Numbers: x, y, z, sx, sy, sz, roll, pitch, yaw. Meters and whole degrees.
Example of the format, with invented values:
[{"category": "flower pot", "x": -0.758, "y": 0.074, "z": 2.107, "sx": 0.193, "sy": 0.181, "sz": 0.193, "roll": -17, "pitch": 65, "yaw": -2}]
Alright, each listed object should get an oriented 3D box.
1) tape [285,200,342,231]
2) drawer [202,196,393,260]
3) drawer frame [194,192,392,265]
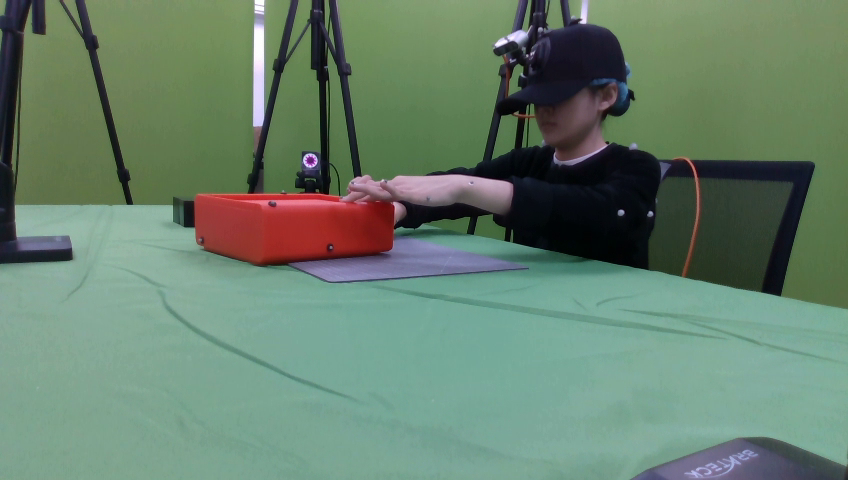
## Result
[{"category": "tape", "x": -0.223, "y": -0.051, "z": 1.222, "sx": 0.117, "sy": 0.052, "sz": 0.117, "roll": 3, "pitch": 7, "yaw": 0}, {"category": "drawer", "x": -0.185, "y": -0.022, "z": 0.886, "sx": 0.213, "sy": 0.073, "sz": 0.193, "roll": -5, "pitch": 12, "yaw": -43}, {"category": "drawer frame", "x": -0.190, "y": -0.024, "z": 0.882, "sx": 0.215, "sy": 0.082, "sz": 0.200, "roll": -5, "pitch": 11, "yaw": -44}]
